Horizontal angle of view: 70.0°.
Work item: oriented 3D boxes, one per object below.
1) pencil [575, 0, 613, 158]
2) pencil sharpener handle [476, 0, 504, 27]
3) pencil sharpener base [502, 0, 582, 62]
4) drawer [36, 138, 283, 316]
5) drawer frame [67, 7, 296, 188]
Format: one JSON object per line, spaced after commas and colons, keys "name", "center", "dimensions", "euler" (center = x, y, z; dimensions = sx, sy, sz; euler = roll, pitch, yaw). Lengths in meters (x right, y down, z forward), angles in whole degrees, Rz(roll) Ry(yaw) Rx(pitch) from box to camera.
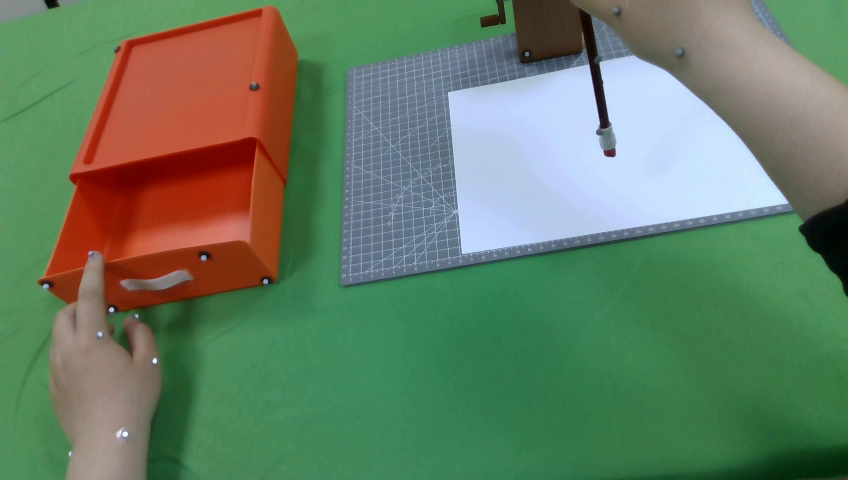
{"name": "pencil", "center": [0.109, -0.129, 0.401], "dimensions": [0.012, 0.196, 0.012], "euler": [-14, 44, 14]}
{"name": "pencil sharpener handle", "center": [0.065, -0.245, 0.616], "dimensions": [0.030, 0.068, 0.035], "euler": [-8, 60, 10]}
{"name": "pencil sharpener base", "center": [0.117, -0.244, 0.616], "dimensions": [0.076, 0.108, 0.061], "euler": [-8, 55, 10]}
{"name": "drawer", "center": [-0.241, -0.043, 0.593], "dimensions": [0.194, 0.074, 0.209], "euler": [-11, 53, 8]}
{"name": "drawer frame", "center": [-0.251, -0.139, 0.660], "dimensions": [0.201, 0.083, 0.211], "euler": [-11, 53, 8]}
